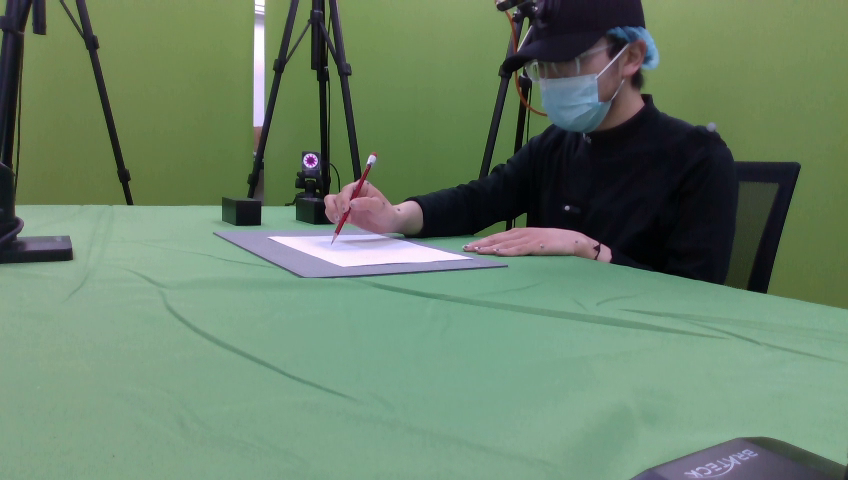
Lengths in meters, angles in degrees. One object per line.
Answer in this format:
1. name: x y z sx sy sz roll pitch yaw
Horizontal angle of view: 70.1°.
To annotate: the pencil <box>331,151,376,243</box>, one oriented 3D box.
1. pencil: -0.112 -0.071 0.965 0.012 0.194 0.012 14 -34 10
